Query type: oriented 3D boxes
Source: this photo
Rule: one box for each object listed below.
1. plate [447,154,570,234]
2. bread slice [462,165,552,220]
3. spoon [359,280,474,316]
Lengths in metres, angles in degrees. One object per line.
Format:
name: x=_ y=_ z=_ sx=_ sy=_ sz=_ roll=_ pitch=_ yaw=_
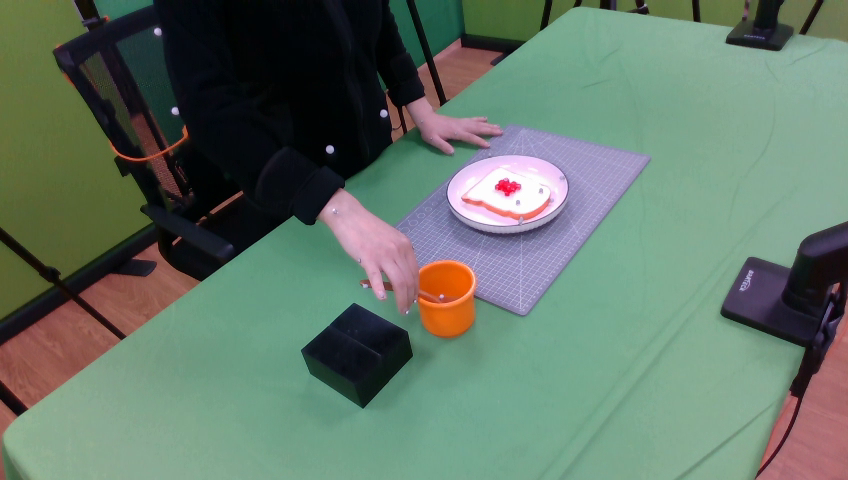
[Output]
plate: x=0.143 y=-0.076 z=1.032 sx=0.209 sy=0.038 sz=0.208 roll=-5 pitch=40 yaw=5
bread slice: x=0.150 y=-0.079 z=1.036 sx=0.133 sy=0.018 sz=0.107 roll=22 pitch=50 yaw=31
spoon: x=-0.007 y=0.073 z=0.803 sx=0.021 sy=0.195 sz=0.041 roll=-54 pitch=42 yaw=17
